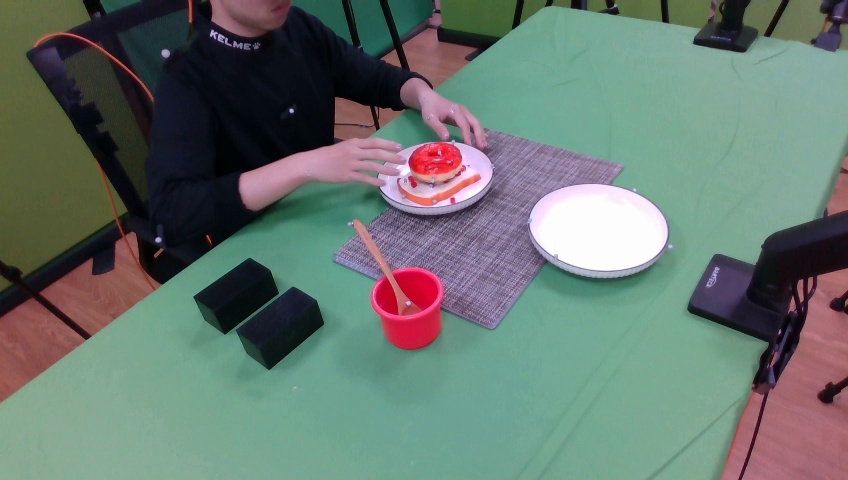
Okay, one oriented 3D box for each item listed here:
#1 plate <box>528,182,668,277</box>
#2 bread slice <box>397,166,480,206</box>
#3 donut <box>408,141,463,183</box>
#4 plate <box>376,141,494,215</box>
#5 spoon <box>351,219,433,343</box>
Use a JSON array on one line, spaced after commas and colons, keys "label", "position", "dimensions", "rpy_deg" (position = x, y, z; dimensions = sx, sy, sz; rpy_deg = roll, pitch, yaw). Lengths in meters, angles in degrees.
[{"label": "plate", "position": [0.264, -0.014, 0.933], "dimensions": [0.207, 0.039, 0.206], "rpy_deg": [-3, 42, 3]}, {"label": "bread slice", "position": [0.020, -0.105, 1.078], "dimensions": [0.132, 0.019, 0.104], "rpy_deg": [-30, 46, -30]}, {"label": "donut", "position": [0.021, -0.139, 1.058], "dimensions": [0.099, 0.048, 0.098], "rpy_deg": [-4, 39, 4]}, {"label": "plate", "position": [0.021, -0.106, 1.073], "dimensions": [0.209, 0.038, 0.208], "rpy_deg": [-4, 40, 4]}, {"label": "spoon", "position": [-0.045, 0.054, 0.820], "dimensions": [0.042, 0.021, 0.193], "rpy_deg": [-29, 89, -21]}]
